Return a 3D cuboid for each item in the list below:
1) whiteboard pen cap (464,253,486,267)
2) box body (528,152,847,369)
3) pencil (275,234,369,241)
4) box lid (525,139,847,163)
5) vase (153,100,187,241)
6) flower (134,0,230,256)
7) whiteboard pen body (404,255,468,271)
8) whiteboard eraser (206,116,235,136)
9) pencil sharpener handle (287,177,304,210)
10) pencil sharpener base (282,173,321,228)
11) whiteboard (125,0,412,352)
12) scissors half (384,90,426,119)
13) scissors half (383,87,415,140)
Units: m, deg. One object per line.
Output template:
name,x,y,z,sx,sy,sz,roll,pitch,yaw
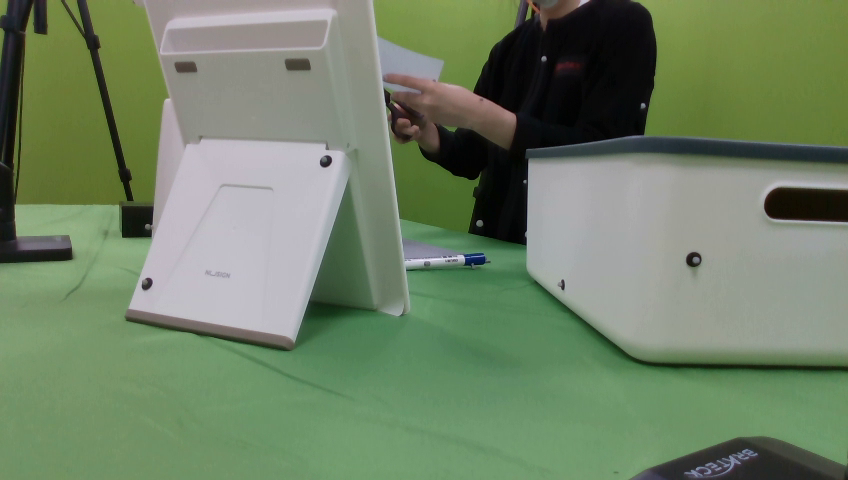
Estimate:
whiteboard pen cap,0.066,0.027,0.818,0.033,0.018,0.018,-6,10,-24
box body,0.258,-0.005,0.591,0.254,0.160,0.363,2,7,-4
pencil,-0.169,-0.006,1.036,0.195,0.012,0.012,-2,9,-45
box lid,0.261,-0.078,0.580,0.264,0.015,0.371,2,7,-4
vase,-0.278,-0.066,0.736,0.098,0.200,0.098,2,9,0
flower,-0.282,-0.147,0.713,0.038,0.362,0.044,-23,24,-31
whiteboard pen body,0.013,0.030,0.792,0.141,0.017,0.017,-3,9,-24
whiteboard eraser,-0.450,-0.252,1.335,0.056,0.042,0.112,1,7,-22
pencil sharpener handle,-0.269,-0.096,1.257,0.036,0.067,0.030,-8,8,-27
pencil sharpener base,-0.247,-0.080,1.212,0.061,0.107,0.076,-2,5,-28
whiteboard,-0.151,-0.049,0.472,0.216,0.305,0.144,6,27,24
scissors half,-0.055,-0.255,1.052,0.013,0.040,0.176,19,3,42
scissors half,-0.066,-0.235,1.049,0.012,0.040,0.176,26,-19,43
